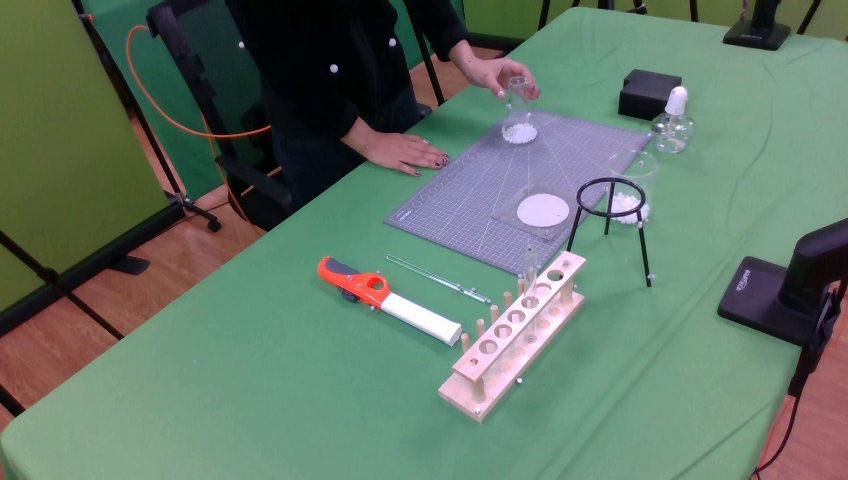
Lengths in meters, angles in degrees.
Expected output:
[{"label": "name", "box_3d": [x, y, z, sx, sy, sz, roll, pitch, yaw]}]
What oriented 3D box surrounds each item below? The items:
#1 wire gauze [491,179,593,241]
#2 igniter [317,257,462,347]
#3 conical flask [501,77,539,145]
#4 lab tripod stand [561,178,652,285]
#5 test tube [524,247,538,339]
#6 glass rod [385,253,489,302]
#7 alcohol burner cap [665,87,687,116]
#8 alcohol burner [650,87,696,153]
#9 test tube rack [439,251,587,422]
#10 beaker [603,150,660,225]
[{"label": "wire gauze", "box_3d": [0.198, -0.051, 1.014, 0.125, 0.011, 0.120, -38, 48, -27]}, {"label": "igniter", "box_3d": [-0.061, 0.086, 0.891, 0.274, 0.025, 0.057, 23, 59, 33]}, {"label": "conical flask", "box_3d": [0.183, -0.250, 1.163, 0.075, 0.122, 0.075, -6, 40, 5]}, {"label": "lab tripod stand", "box_3d": [0.263, -0.014, 0.864, 0.148, 0.132, 0.147, -7, 38, 6]}, {"label": "test tube", "box_3d": [0.133, 0.070, 0.749, 0.017, 0.151, 0.017, -5, 38, 4]}, {"label": "glass rod", "box_3d": [0.016, 0.055, 0.927, 0.198, 0.008, 0.008, 23, 50, 32]}, {"label": "alcohol burner cap", "box_3d": [0.445, -0.244, 1.060, 0.034, 0.048, 0.033, -2, 45, 3]}, {"label": "alcohol burner", "box_3d": [0.448, -0.217, 1.084, 0.078, 0.119, 0.077, -6, 38, 5]}, {"label": "test tube rack", "box_3d": [0.118, 0.111, 0.780, 0.066, 0.085, 0.243, 26, 51, 34]}, {"label": "beaker", "box_3d": [0.324, -0.080, 0.957, 0.083, 0.101, 0.074, 7, 42, 20]}]
